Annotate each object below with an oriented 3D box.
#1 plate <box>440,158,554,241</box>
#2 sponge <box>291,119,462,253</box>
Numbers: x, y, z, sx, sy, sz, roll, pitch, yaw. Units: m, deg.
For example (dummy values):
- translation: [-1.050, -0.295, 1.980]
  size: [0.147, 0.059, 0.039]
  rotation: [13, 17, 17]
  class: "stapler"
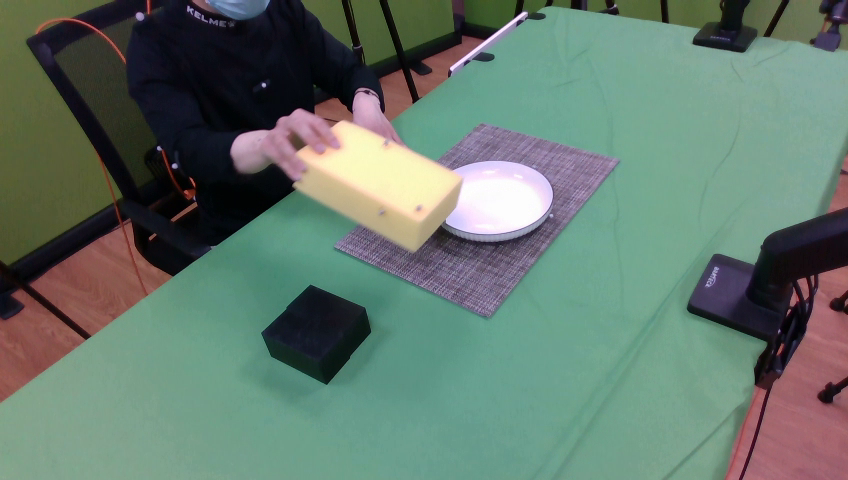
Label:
- translation: [0.112, -0.065, 1.011]
  size: [0.207, 0.039, 0.206]
  rotation: [-4, 41, 4]
  class: "plate"
- translation: [-0.067, -0.080, 0.846]
  size: [0.206, 0.061, 0.118]
  rotation: [28, 48, 14]
  class: "sponge"
